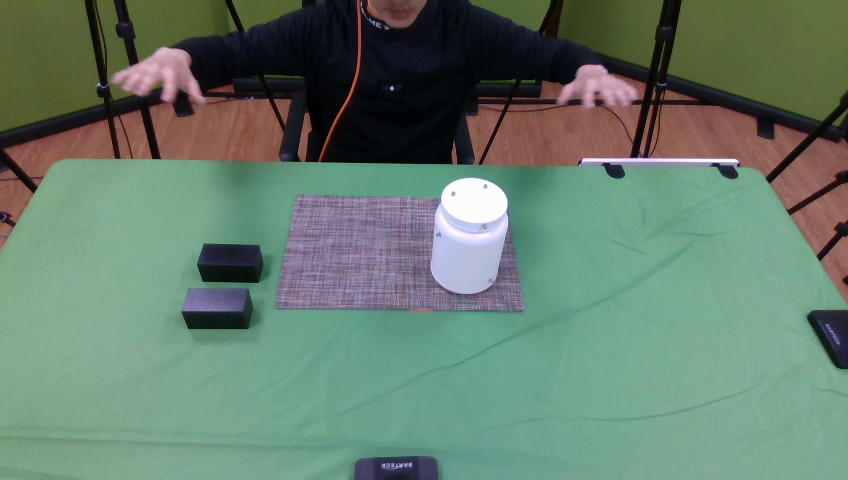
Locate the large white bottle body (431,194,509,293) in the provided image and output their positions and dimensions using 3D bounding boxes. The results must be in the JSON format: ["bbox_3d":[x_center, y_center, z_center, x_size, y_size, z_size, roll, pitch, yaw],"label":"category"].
[{"bbox_3d":[0.081,-0.007,1.091,0.131,0.185,0.130,2,47,-2],"label":"large white bottle body"}]

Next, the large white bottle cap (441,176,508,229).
[{"bbox_3d":[0.086,-0.065,1.030,0.115,0.018,0.114,2,47,-2],"label":"large white bottle cap"}]
